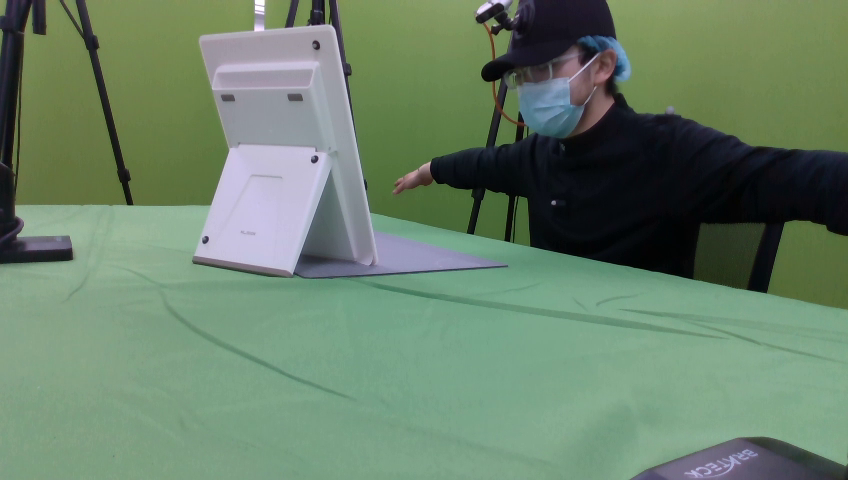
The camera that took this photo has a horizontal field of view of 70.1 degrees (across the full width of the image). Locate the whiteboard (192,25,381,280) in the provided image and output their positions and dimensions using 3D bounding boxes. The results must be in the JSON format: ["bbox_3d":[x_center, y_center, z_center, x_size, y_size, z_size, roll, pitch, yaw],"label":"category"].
[{"bbox_3d":[-0.205,-0.085,0.734,0.216,0.305,0.144,7,30,30],"label":"whiteboard"}]

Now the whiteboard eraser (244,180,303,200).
[{"bbox_3d":[-0.318,-0.106,1.277,0.113,0.042,0.055,-6,15,-36],"label":"whiteboard eraser"}]
